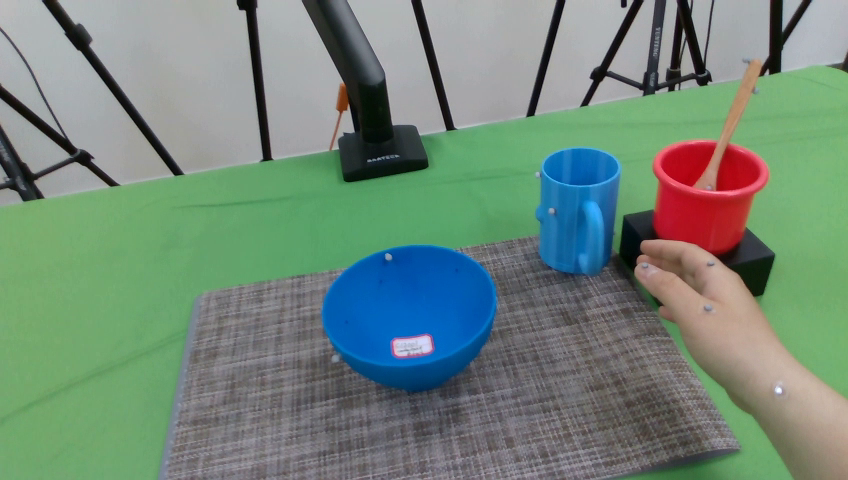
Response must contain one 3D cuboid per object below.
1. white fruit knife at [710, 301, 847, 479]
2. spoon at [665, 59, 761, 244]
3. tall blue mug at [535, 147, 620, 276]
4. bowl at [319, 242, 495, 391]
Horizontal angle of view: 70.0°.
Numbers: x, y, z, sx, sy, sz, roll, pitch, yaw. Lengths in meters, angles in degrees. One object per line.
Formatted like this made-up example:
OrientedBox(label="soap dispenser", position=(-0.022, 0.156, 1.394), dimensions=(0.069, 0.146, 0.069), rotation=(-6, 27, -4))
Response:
OrientedBox(label="white fruit knife", position=(0.293, 0.118, 0.500), dimensions=(0.027, 0.016, 0.205), rotation=(12, 31, -19))
OrientedBox(label="spoon", position=(0.281, -0.085, 0.575), dimensions=(0.041, 0.022, 0.193), rotation=(23, 91, 35))
OrientedBox(label="tall blue mug", position=(0.165, -0.023, 0.616), dimensions=(0.078, 0.109, 0.106), rotation=(-23, 40, -21))
OrientedBox(label="bowl", position=(-0.011, 0.079, 0.536), dimensions=(0.151, 0.077, 0.150), rotation=(-4, 38, 4))
